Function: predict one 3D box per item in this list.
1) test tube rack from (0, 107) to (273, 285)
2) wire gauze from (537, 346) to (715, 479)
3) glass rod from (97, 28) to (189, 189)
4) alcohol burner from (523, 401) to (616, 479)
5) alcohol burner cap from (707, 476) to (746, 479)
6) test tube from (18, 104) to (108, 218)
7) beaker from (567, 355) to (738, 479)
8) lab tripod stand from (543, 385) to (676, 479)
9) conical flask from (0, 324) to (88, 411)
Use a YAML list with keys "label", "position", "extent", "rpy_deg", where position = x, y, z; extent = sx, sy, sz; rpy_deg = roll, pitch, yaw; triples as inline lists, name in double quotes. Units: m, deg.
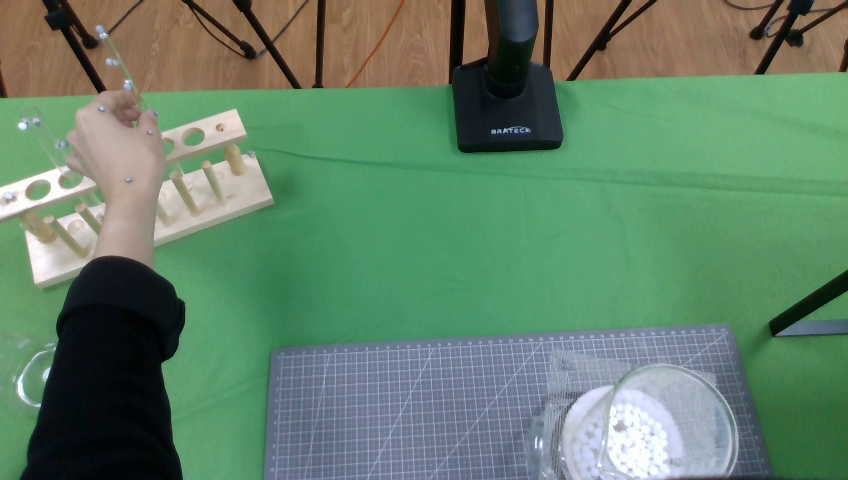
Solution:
- label: "test tube rack"
  position: [-0.286, -0.044, 0.605]
  extent: [0.242, 0.086, 0.066]
  rpy_deg: [-22, 66, -12]
- label: "wire gauze"
  position: [0.141, 0.140, 0.422]
  extent: [0.121, 0.011, 0.124]
  rpy_deg: [11, 62, 1]
- label: "glass rod"
  position: [-0.256, -0.111, 0.565]
  extent: [0.008, 0.201, 0.008]
  rpy_deg: [0, 56, 1]
- label: "alcohol burner"
  position: [0.123, 0.167, 0.494]
  extent: [0.078, 0.120, 0.077]
  rpy_deg: [1, 62, -2]
- label: "alcohol burner cap"
  position: [0.261, 0.215, 0.513]
  extent: [0.034, 0.048, 0.033]
  rpy_deg: [1, 64, -1]
- label: "test tube"
  position: [-0.329, -0.067, 0.560]
  extent: [0.017, 0.151, 0.017]
  rpy_deg: [1, 57, -1]
- label: "beaker"
  position: [0.132, 0.124, 0.377]
  extent: [0.084, 0.101, 0.073]
  rpy_deg: [-24, 67, -12]
- label: "lab tripod stand"
  position: [0.134, 0.174, 0.479]
  extent: [0.148, 0.132, 0.147]
  rpy_deg: [1, 63, -2]
- label: "conical flask"
  position: [-0.351, 0.097, 0.515]
  extent: [0.075, 0.123, 0.074]
  rpy_deg: [0, 63, 0]
